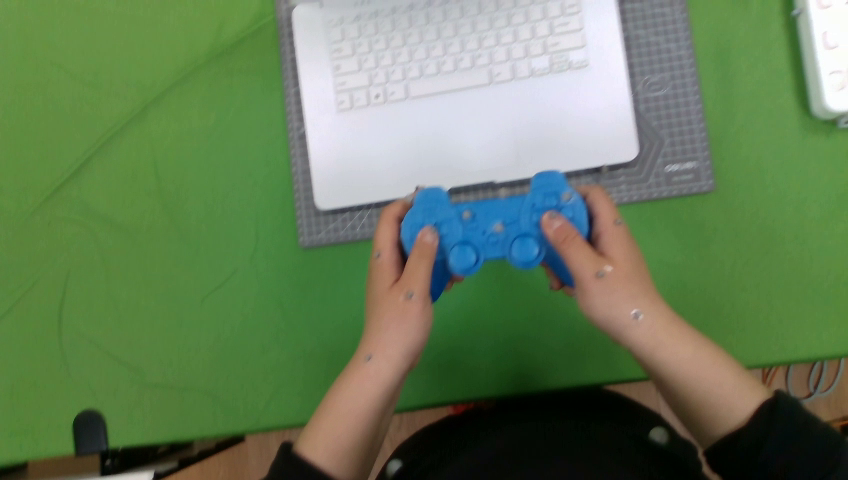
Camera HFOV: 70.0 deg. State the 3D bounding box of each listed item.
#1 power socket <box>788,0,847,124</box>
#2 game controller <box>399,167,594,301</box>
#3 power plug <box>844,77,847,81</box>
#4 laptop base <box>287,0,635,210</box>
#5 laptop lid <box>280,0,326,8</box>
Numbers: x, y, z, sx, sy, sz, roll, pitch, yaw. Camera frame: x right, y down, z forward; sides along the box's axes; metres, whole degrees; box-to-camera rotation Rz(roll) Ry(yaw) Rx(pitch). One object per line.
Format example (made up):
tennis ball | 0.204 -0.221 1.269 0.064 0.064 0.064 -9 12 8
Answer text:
power socket | 0.416 -0.233 0.615 0.072 0.033 0.226 -7 85 8
game controller | 0.054 -0.003 0.482 0.155 0.051 0.097 -7 95 9
power plug | 0.452 -0.165 0.586 0.072 0.053 0.035 5 85 4
laptop base | 0.033 -0.174 0.666 0.354 0.023 0.235 -9 88 6
laptop lid | -0.002 -0.318 0.561 0.356 0.243 0.013 -9 76 8
